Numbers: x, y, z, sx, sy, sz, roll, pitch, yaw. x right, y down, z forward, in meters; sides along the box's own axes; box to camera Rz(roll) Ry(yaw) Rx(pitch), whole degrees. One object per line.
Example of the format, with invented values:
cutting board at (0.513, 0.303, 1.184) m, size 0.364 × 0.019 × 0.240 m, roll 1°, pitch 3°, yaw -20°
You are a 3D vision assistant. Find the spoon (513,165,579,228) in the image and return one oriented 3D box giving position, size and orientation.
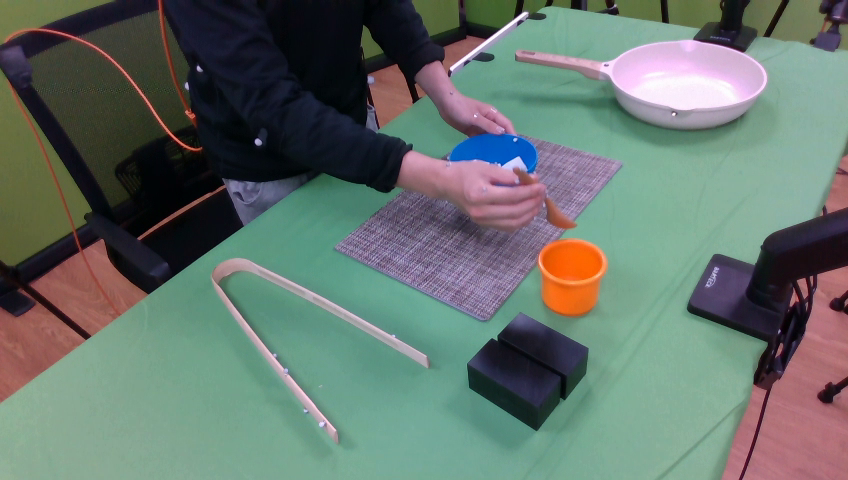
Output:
spoon at (0.153, -0.053, 0.768) m, size 0.041 × 0.195 × 0.021 m, roll 11°, pitch 73°, yaw 36°

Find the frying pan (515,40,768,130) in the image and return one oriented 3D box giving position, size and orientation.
frying pan at (0.423, -0.338, 1.236) m, size 0.486 × 0.103 × 0.307 m, roll 16°, pitch 44°, yaw 13°

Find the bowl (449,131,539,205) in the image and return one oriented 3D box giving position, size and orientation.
bowl at (0.119, -0.113, 1.033) m, size 0.151 × 0.077 × 0.150 m, roll -4°, pitch 41°, yaw 4°

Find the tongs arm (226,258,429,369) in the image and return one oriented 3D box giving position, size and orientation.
tongs arm at (-0.150, 0.099, 0.873) m, size 0.384 × 0.028 × 0.028 m, roll 22°, pitch 50°, yaw 30°

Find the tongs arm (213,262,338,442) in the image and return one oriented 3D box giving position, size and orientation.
tongs arm at (-0.208, 0.136, 0.830) m, size 0.051 × 0.026 × 0.381 m, roll -31°, pitch 45°, yaw -28°
